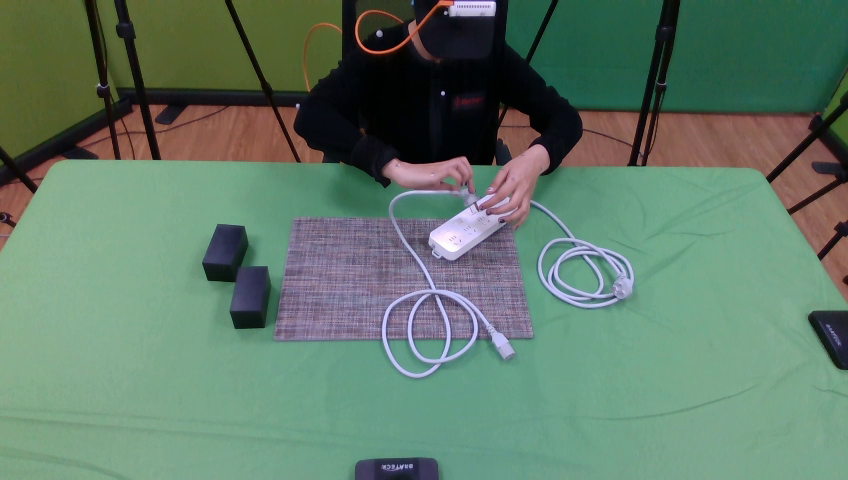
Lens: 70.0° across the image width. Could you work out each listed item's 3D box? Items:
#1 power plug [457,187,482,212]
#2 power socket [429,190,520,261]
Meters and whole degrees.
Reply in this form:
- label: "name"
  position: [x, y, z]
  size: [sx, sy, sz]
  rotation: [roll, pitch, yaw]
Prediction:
- label: "power plug"
  position: [0.085, -0.074, 1.173]
  size: [0.072, 0.035, 0.052]
  rotation: [-24, 86, -48]
- label: "power socket"
  position: [0.104, -0.032, 1.222]
  size: [0.226, 0.033, 0.072]
  rotation: [-33, 57, -30]
